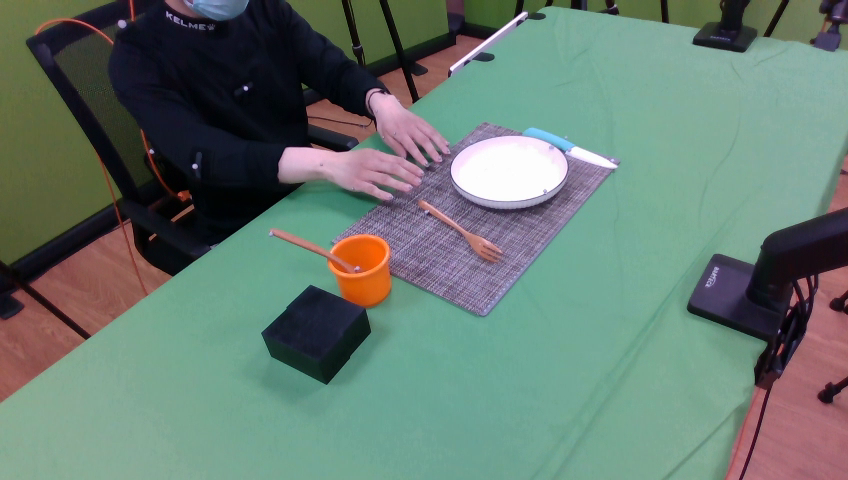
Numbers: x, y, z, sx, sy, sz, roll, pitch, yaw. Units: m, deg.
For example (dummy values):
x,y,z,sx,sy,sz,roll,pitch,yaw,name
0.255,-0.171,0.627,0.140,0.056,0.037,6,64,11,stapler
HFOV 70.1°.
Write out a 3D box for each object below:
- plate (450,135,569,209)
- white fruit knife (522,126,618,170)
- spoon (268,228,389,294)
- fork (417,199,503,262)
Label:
x,y,z,sx,sy,sz,roll,pitch,yaw,name
0.149,-0.117,1.065,0.209,0.038,0.208,-4,41,4,plate
0.272,-0.172,1.132,0.205,0.016,0.027,32,82,34,white fruit knife
-0.132,0.027,0.859,0.021,0.195,0.041,-39,31,33,spoon
0.053,-0.021,0.981,0.019,0.028,0.205,1,26,-41,fork
